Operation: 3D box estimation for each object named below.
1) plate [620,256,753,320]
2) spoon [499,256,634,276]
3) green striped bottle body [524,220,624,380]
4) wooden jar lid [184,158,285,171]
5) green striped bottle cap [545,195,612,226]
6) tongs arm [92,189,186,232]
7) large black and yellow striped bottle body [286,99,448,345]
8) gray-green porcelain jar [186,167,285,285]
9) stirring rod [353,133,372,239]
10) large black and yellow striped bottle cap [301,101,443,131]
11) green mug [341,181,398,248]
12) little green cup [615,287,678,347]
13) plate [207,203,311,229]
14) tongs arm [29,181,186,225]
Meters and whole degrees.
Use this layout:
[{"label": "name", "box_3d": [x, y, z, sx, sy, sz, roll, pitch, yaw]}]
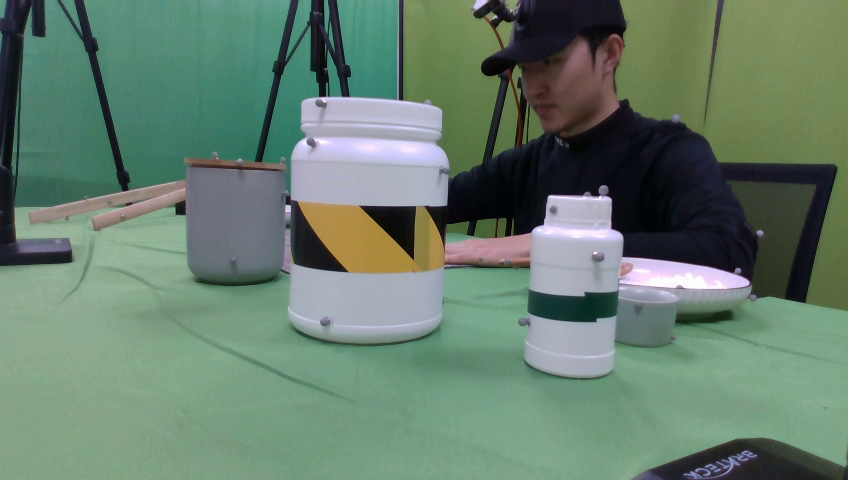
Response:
[{"label": "plate", "box_3d": [0.234, 0.049, 0.651, 0.209, 0.038, 0.209, 2, 7, 0]}, {"label": "spoon", "box_3d": [0.162, 0.027, 0.679, 0.195, 0.021, 0.041, 8, 2, -30]}, {"label": "green striped bottle body", "box_3d": [0.104, 0.031, 0.422, 0.063, 0.119, 0.063, 2, 8, 0]}, {"label": "wooden jar lid", "box_3d": [-0.210, -0.078, 0.674, 0.108, 0.020, 0.108, 5, 6, 0]}, {"label": "green striped bottle cap", "box_3d": [0.106, -0.020, 0.414, 0.044, 0.020, 0.044, 2, 4, 0]}, {"label": "tongs arm", "box_3d": [-0.534, -0.076, 1.222, 0.028, 0.028, 0.388, -2, 15, 12]}, {"label": "large black and yellow striped bottle body", "box_3d": [-0.047, -0.018, 0.501, 0.131, 0.184, 0.130, 2, 7, 0]}, {"label": "gray-green porcelain jar", "box_3d": [-0.212, -0.017, 0.682, 0.106, 0.126, 0.106, 2, 7, 0]}, {"label": "stirring rod", "box_3d": [-0.101, -0.086, 0.984, 0.006, 0.176, 0.014, 3, 14, -26]}, {"label": "large black and yellow striped bottle cap", "box_3d": [-0.042, -0.100, 0.491, 0.115, 0.019, 0.115, 1, 8, 0]}, {"label": "green mug", "box_3d": [-0.090, -0.044, 0.997, 0.093, 0.105, 0.125, 1, 7, -8]}, {"label": "little green cup", "box_3d": [0.180, 0.064, 0.506, 0.061, 0.038, 0.061, 1, 8, 0]}, {"label": "plate", "box_3d": [-0.342, -0.050, 1.259, 0.208, 0.039, 0.207, 2, 7, 0]}, {"label": "tongs arm", "box_3d": [-0.609, -0.083, 1.245, 0.050, 0.026, 0.386, 5, 16, 23]}]
